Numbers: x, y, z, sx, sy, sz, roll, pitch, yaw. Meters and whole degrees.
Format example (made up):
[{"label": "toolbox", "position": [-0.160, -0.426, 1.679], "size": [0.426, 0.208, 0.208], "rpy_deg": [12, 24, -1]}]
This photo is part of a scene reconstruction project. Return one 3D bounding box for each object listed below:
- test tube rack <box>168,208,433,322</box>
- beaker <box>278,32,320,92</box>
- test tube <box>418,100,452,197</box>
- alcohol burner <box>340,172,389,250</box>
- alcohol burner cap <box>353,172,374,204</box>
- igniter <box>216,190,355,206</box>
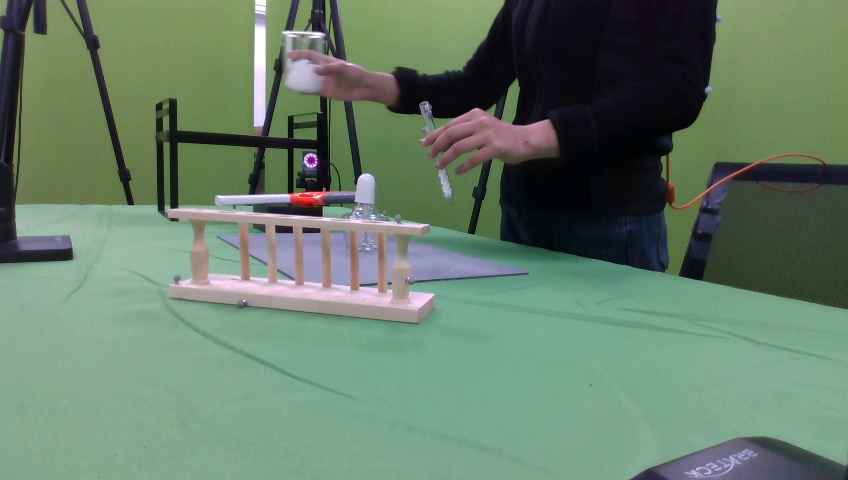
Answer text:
[{"label": "test tube rack", "position": [-0.115, 0.017, 0.574], "size": [0.242, 0.085, 0.067], "rpy_deg": [4, 8, 13]}, {"label": "beaker", "position": [-0.227, -0.325, 1.109], "size": [0.074, 0.100, 0.083], "rpy_deg": [-3, 23, -12]}, {"label": "test tube", "position": [0.016, -0.134, 0.882], "size": [0.017, 0.150, 0.017], "rpy_deg": [-14, -9, -2]}, {"label": "alcohol burner", "position": [-0.094, -0.045, 0.939], "size": [0.078, 0.119, 0.078], "rpy_deg": [0, 7, 0]}, {"label": "alcohol burner cap", "position": [-0.092, -0.081, 0.935], "size": [0.034, 0.048, 0.034], "rpy_deg": [6, 7, 0]}, {"label": "igniter", "position": [-0.248, -0.079, 1.152], "size": [0.278, 0.025, 0.057], "rpy_deg": [-4, 11, -27]}]
